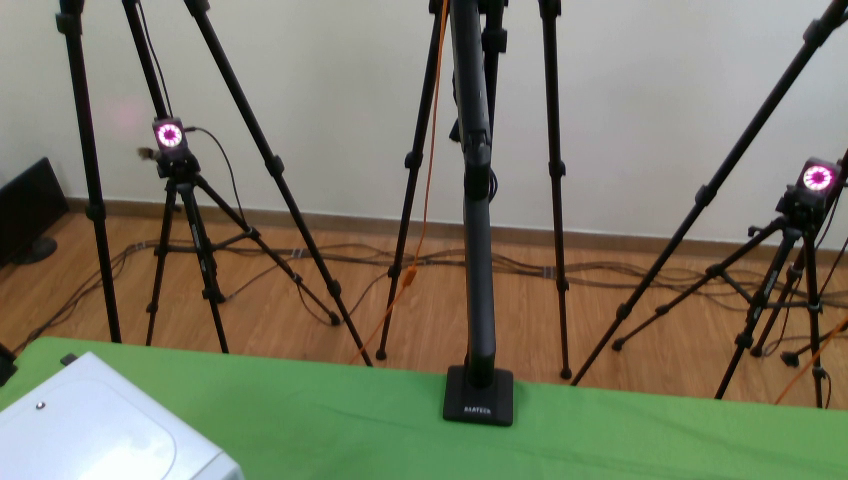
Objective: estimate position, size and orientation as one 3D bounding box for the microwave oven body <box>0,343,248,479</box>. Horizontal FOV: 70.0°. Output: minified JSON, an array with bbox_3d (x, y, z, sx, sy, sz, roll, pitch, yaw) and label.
[{"bbox_3d":[-0.467,0.396,0.711,0.323,0.262,0.441,24,46,25],"label":"microwave oven body"}]
